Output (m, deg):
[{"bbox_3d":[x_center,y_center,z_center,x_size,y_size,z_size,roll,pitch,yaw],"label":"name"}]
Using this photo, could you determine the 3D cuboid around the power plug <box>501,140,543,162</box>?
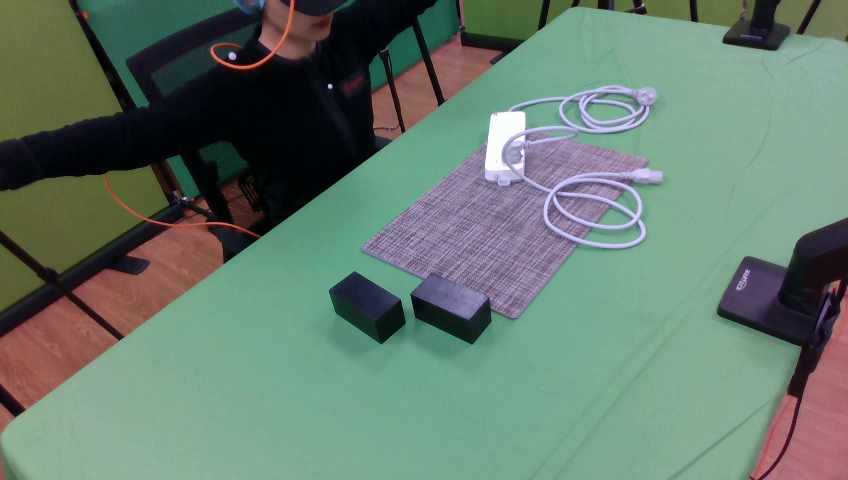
[{"bbox_3d":[0.174,-0.150,1.078,0.072,0.053,0.035,6,42,20],"label":"power plug"}]

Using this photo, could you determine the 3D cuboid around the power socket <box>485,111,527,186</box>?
[{"bbox_3d":[0.159,-0.181,1.153,0.072,0.033,0.226,0,40,11],"label":"power socket"}]
